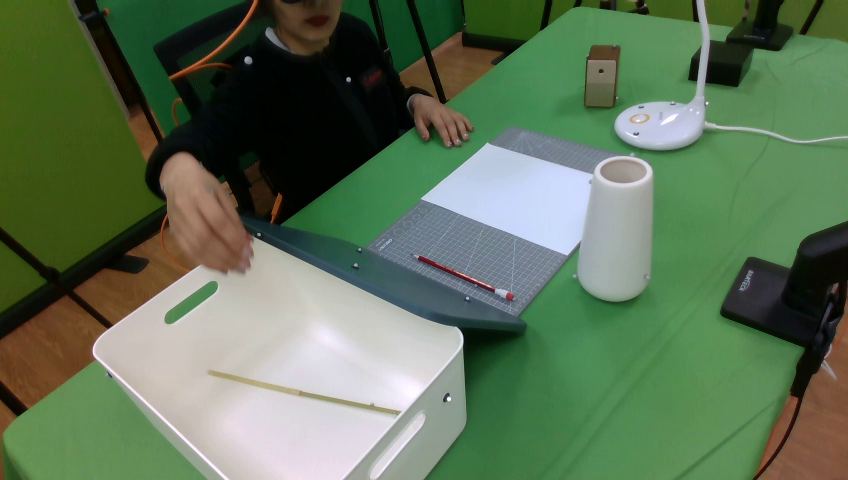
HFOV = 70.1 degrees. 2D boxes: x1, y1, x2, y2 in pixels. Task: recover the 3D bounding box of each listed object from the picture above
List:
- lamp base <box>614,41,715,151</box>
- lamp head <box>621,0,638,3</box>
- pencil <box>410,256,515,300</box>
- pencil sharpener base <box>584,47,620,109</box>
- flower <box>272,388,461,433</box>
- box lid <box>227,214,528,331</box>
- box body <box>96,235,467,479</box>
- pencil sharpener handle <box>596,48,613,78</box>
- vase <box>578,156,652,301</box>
[{"bbox_3d":[0.449,-0.277,1.106,0.179,0.181,0.160,1,41,9],"label":"lamp base"},{"bbox_3d":[0.319,-0.453,0.962,0.113,0.123,0.112,20,33,-13],"label":"lamp head"},{"bbox_3d":[0.054,0.054,0.918,0.192,0.012,0.012,21,48,33],"label":"pencil"},{"bbox_3d":[0.367,-0.336,1.248,0.061,0.107,0.076,6,42,19],"label":"pencil sharpener base"},{"bbox_3d":[-0.122,0.202,0.770,0.360,0.038,0.044,2,78,22],"label":"flower"},{"bbox_3d":[-0.062,0.044,0.813,0.368,0.265,0.015,22,93,32],"label":"box lid"},{"bbox_3d":[-0.155,0.169,0.707,0.361,0.161,0.255,23,49,33],"label":"box body"},{"bbox_3d":[0.383,-0.378,1.276,0.036,0.068,0.030,2,41,22],"label":"pencil sharpener handle"},{"bbox_3d":[0.261,-0.011,0.812,0.098,0.201,0.097,-4,40,4],"label":"vase"}]
